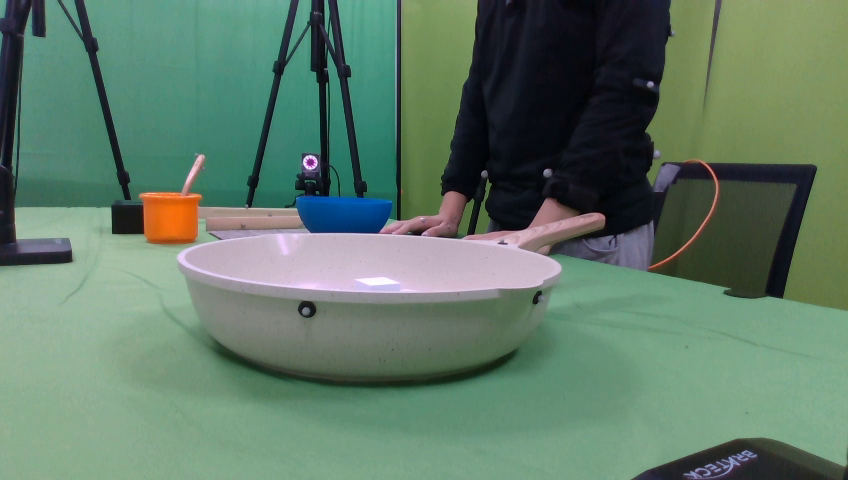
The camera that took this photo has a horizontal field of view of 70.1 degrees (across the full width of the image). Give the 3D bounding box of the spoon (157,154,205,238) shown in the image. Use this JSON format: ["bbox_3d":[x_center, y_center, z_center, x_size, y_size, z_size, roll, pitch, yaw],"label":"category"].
[{"bbox_3d":[-0.392,-0.076,0.998,0.041,0.193,0.021,1,-36,5],"label":"spoon"}]

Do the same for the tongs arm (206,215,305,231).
[{"bbox_3d":[-0.257,-0.040,1.241,0.390,0.028,0.028,-4,8,-42],"label":"tongs arm"}]

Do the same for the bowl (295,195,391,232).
[{"bbox_3d":[-0.127,-0.027,0.946,0.151,0.077,0.151,2,7,0],"label":"bowl"}]

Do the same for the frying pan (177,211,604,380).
[{"bbox_3d":[0.034,0.019,0.556,0.490,0.102,0.305,-15,18,-42],"label":"frying pan"}]

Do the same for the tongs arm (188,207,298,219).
[{"bbox_3d":[-0.301,-0.055,1.308,0.387,0.026,0.050,-1,9,-29],"label":"tongs arm"}]
